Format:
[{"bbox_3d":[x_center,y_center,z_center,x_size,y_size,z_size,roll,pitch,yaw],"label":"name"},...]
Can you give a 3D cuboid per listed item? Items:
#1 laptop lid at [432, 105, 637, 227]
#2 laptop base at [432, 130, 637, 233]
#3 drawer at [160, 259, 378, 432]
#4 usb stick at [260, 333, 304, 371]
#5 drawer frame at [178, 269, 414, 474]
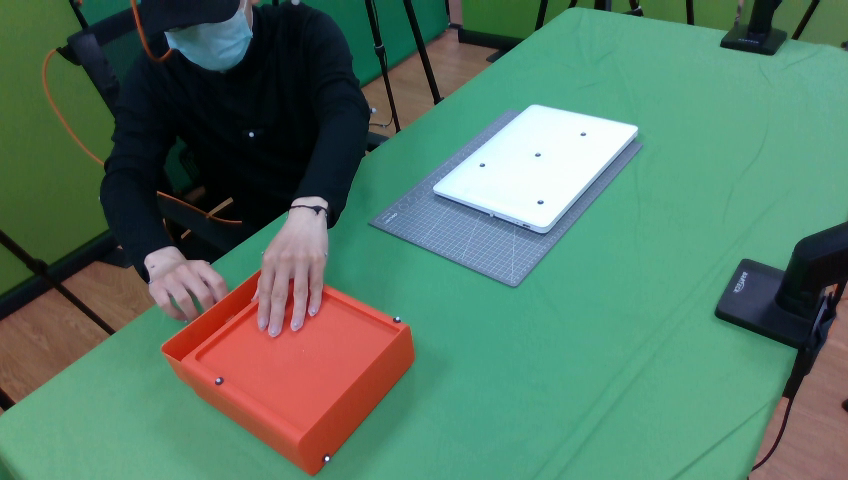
[{"bbox_3d":[0.207,-0.152,1.105,0.239,0.013,0.358,23,49,34],"label":"laptop lid"},{"bbox_3d":[0.210,-0.142,1.111,0.233,0.023,0.355,21,47,34],"label":"laptop base"},{"bbox_3d":[-0.194,0.139,0.792,0.210,0.073,0.195,22,48,30],"label":"drawer"},{"bbox_3d":[-0.191,0.151,0.806,0.059,0.027,0.021,-30,43,-24],"label":"usb stick"},{"bbox_3d":[-0.157,0.152,0.769,0.212,0.083,0.202,22,47,29],"label":"drawer frame"}]
